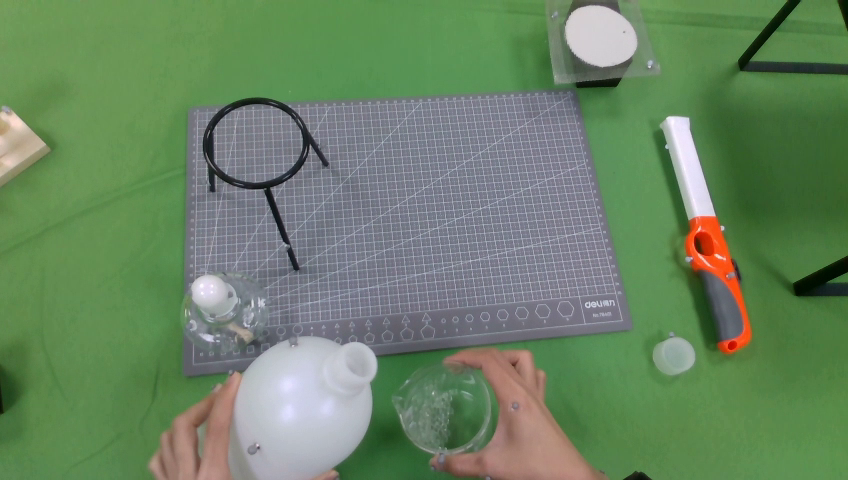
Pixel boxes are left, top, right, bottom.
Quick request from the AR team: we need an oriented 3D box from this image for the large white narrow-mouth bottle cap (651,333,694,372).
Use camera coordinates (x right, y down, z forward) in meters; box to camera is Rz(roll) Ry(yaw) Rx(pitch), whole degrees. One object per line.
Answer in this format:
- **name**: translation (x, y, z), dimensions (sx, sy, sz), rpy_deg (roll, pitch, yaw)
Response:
- **large white narrow-mouth bottle cap**: translation (0.253, 0.115, 0.618), dimensions (0.038, 0.024, 0.037), rpy_deg (2, 68, -3)

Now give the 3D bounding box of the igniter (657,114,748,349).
- **igniter**: translation (0.305, -0.017, 0.669), dimensions (0.057, 0.025, 0.274), rpy_deg (0, 69, -17)

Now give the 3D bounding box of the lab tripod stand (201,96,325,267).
- **lab tripod stand**: translation (-0.149, -0.060, 0.583), dimensions (0.148, 0.132, 0.147), rpy_deg (3, 69, -6)

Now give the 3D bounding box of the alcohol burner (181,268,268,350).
- **alcohol burner**: translation (-0.182, 0.057, 0.545), dimensions (0.078, 0.120, 0.077), rpy_deg (3, 67, -6)

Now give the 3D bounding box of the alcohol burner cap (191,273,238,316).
- **alcohol burner cap**: translation (-0.179, 0.045, 0.512), dimensions (0.034, 0.048, 0.033), rpy_deg (1, 74, -5)

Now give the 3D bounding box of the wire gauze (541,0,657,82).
- **wire gauze**: translation (0.199, -0.238, 0.703), dimensions (0.121, 0.011, 0.124), rpy_deg (-3, 70, -6)

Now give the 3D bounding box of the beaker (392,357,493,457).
- **beaker**: translation (0.020, 0.149, 0.528), dimensions (0.084, 0.101, 0.073), rpy_deg (9, 68, 12)

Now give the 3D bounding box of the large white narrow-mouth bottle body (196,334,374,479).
- **large white narrow-mouth bottle body**: translation (-0.099, 0.131, 0.469), dimensions (0.102, 0.195, 0.101), rpy_deg (24, 44, -25)

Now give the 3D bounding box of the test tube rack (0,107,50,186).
- **test tube rack**: translation (-0.501, -0.053, 0.576), dimensions (0.066, 0.085, 0.242), rpy_deg (42, 71, 11)
